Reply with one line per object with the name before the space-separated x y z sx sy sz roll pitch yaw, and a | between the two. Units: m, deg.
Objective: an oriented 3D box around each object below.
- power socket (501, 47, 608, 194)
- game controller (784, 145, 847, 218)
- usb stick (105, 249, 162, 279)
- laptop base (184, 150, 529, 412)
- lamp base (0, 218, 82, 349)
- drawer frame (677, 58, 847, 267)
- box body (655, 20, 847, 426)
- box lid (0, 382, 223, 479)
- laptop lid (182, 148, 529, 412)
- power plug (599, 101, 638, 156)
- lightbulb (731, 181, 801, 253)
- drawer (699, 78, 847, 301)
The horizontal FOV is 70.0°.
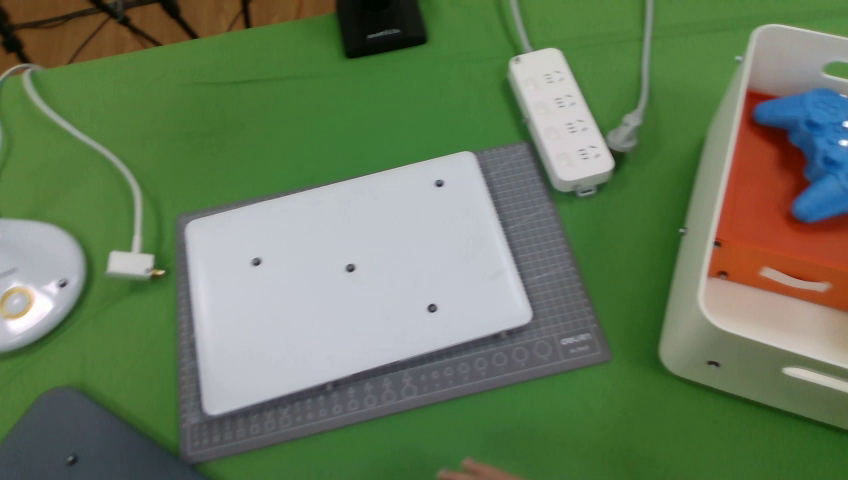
power socket | 0.161 -0.159 0.769 0.072 0.033 0.224 -14 62 -5
game controller | 0.410 -0.099 0.632 0.097 0.052 0.154 -4 62 -3
usb stick | -0.330 0.029 0.691 0.059 0.021 0.027 12 63 -28
laptop base | -0.084 0.034 0.687 0.355 0.023 0.233 -16 66 -5
lamp base | -0.488 0.005 0.633 0.160 0.182 0.177 -39 64 -17
drawer frame | 0.388 -0.065 0.611 0.083 0.213 0.202 -40 100 -3
box body | 0.398 -0.016 0.607 0.253 0.162 0.362 17 64 11
box lid | -0.298 0.318 0.554 0.370 0.015 0.262 26 67 15
laptop lid | -0.085 0.031 0.676 0.357 0.013 0.239 -14 65 -4
power plug | 0.246 -0.133 0.747 0.072 0.053 0.035 -29 59 -32
lightbulb | 0.361 -0.024 0.652 0.059 0.060 0.106 -5 50 1
drawer | 0.408 -0.055 0.654 0.194 0.074 0.210 15 70 12
